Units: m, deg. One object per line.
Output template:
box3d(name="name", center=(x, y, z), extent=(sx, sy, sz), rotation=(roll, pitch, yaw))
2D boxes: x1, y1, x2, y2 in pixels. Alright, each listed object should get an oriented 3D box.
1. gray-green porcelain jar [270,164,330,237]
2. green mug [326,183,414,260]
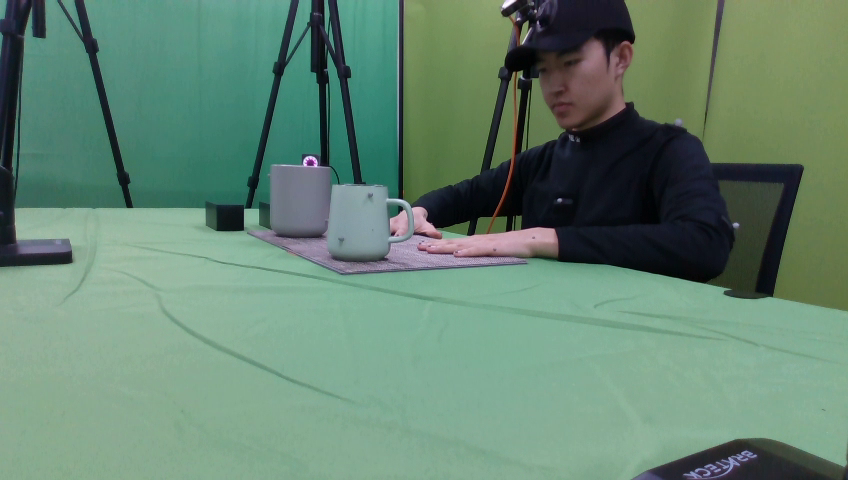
box3d(name="gray-green porcelain jar", center=(-0.223, -0.072, 1.090), extent=(0.106, 0.126, 0.106), rotation=(2, 8, 0))
box3d(name="green mug", center=(-0.076, -0.027, 0.858), extent=(0.125, 0.105, 0.092), rotation=(3, 7, 8))
